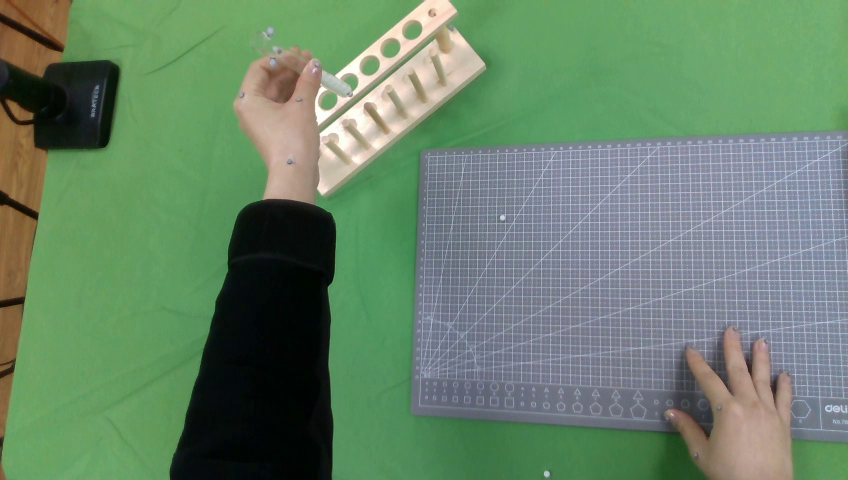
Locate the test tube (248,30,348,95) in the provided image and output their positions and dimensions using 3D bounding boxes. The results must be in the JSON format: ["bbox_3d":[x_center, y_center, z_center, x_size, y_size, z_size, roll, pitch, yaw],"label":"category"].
[{"bbox_3d":[-0.110,-0.159,0.558,0.017,0.151,0.017,-1,87,21],"label":"test tube"}]

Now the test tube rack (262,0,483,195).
[{"bbox_3d":[-0.055,-0.159,0.681,0.242,0.085,0.066,-38,75,6],"label":"test tube rack"}]
